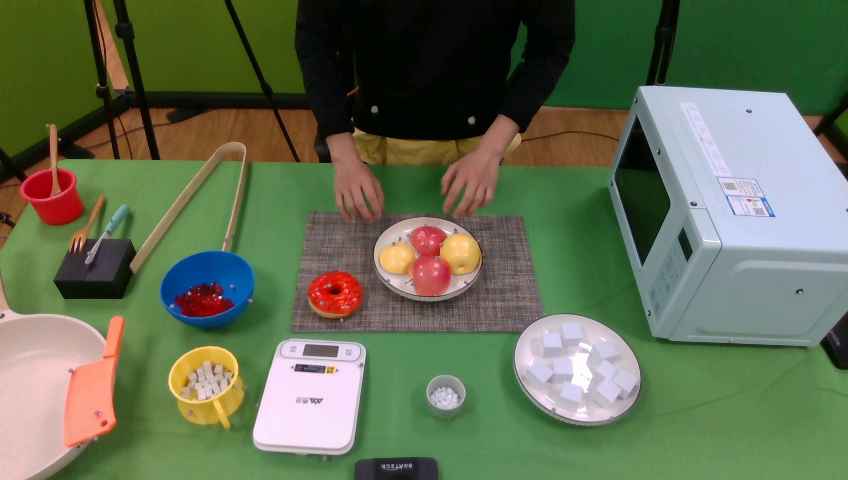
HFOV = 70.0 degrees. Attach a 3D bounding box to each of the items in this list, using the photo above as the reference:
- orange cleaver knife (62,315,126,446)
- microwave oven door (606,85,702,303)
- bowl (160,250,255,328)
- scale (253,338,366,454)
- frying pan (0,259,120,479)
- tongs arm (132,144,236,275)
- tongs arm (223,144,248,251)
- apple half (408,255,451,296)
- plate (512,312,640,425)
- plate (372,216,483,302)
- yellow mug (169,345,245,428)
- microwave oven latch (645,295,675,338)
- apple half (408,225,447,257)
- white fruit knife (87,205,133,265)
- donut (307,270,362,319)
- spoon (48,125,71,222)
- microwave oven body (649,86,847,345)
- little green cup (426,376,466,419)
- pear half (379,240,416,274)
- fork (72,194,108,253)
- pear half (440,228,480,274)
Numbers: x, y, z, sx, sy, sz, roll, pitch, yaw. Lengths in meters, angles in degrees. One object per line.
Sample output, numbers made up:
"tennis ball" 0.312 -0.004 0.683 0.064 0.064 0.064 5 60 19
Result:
"orange cleaver knife" -0.480 0.199 0.887 0.077 0.012 0.210 -9 47 -8
"microwave oven door" 0.422 -0.094 1.140 0.039 0.245 0.353 2 46 -1
"bowl" -0.362 0.098 1.039 0.151 0.077 0.150 2 45 -2
"scale" -0.175 0.236 0.951 0.149 0.032 0.199 4 45 0
"frying pan" -0.647 0.164 0.936 0.307 0.103 0.485 -19 58 -22
"tongs arm" -0.484 -0.075 1.237 0.028 0.028 0.385 5 45 14
"tongs arm" -0.397 -0.073 1.232 0.051 0.027 0.382 -3 45 1
"apple half" 0.012 0.058 1.103 0.075 0.053 0.080 -6 43 -13
"plate" 0.246 0.213 0.999 0.208 0.039 0.206 2 46 -2
"plate" 0.006 0.038 1.145 0.209 0.038 0.208 2 46 -2
"yellow mug" -0.322 0.230 0.922 0.100 0.064 0.130 -24 53 -25
"microwave oven latch" 0.411 0.134 1.061 0.030 0.029 0.078 3 45 0
"apple half" 0.011 -0.006 1.176 0.081 0.033 0.081 2 53 -3
"white fruit knife" -0.584 -0.013 1.129 0.016 0.027 0.206 -1 32 -4
"donut" -0.158 0.097 1.073 0.099 0.048 0.098 4 45 -4
"spoon" -0.718 -0.131 1.188 0.041 0.021 0.193 -3 90 -7
"microwave oven body" 0.567 -0.053 1.118 0.326 0.261 0.439 2 45 -1
"little green cup" 0.033 0.248 0.950 0.061 0.039 0.061 2 46 -2
"pear half" -0.048 0.024 1.146 0.070 0.031 0.087 12 47 -11
"fork" -0.634 -0.036 1.158 0.028 0.019 0.206 -8 31 -8
"pear half" 0.065 0.007 1.150 0.076 0.056 0.109 -11 44 -2
